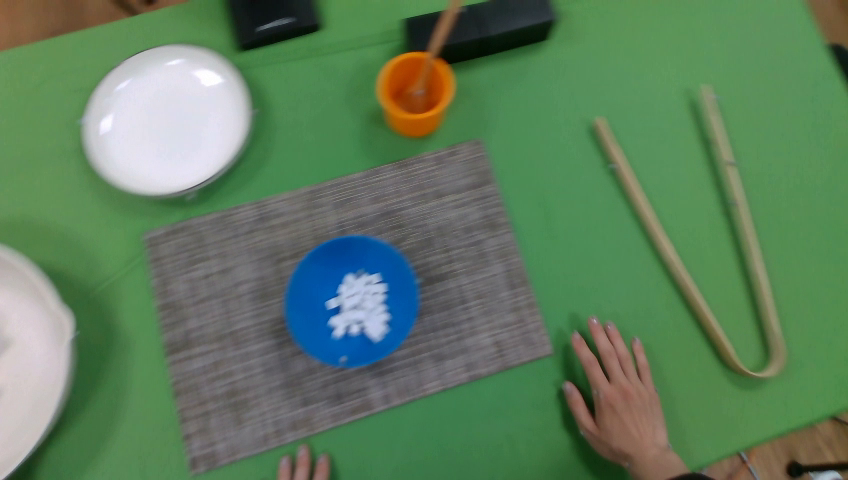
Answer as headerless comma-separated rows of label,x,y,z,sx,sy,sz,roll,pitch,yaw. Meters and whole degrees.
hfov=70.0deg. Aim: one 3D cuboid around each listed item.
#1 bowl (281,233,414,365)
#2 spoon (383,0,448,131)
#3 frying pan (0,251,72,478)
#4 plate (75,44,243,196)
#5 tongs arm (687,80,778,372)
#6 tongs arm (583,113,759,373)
bowl,-0.087,0.074,0.715,0.151,0.077,0.150,1,76,-2
spoon,-0.006,-0.225,0.759,0.041,0.194,0.021,31,33,9
frying pan,-0.505,0.238,0.649,0.307,0.103,0.484,-19,69,-6
plate,-0.336,-0.152,0.785,0.208,0.039,0.206,1,77,-2
tongs arm,0.385,-0.025,0.783,0.051,0.026,0.383,-13,78,-4
tongs arm,0.307,0.000,0.779,0.028,0.028,0.385,-26,79,-10
